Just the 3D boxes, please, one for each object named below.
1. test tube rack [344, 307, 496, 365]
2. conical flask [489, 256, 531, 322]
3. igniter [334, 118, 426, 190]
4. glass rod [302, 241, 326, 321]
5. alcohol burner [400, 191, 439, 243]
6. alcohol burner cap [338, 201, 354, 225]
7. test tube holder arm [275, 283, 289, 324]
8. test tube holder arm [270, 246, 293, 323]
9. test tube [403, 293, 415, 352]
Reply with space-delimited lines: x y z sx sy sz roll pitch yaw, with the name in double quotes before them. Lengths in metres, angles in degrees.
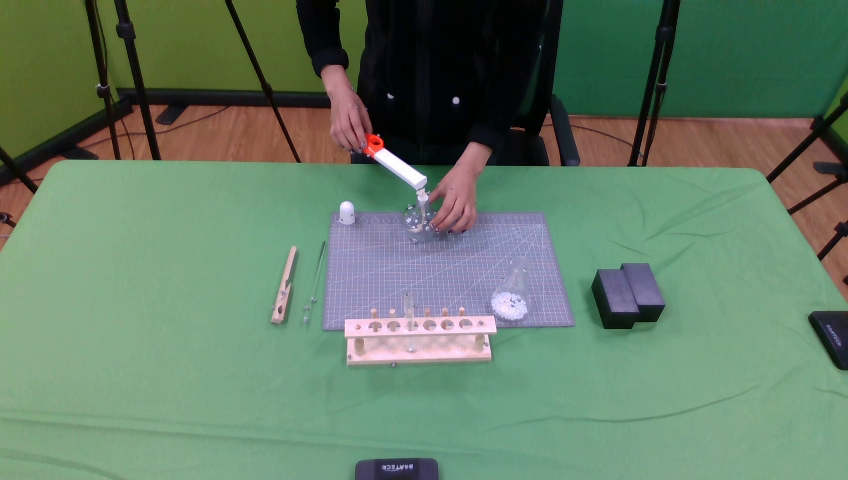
"test tube rack" -0.009 0.154 1.007 0.242 0.085 0.066 -1 46 -5
"conical flask" 0.158 0.081 1.061 0.075 0.122 0.075 2 46 -2
"igniter" -0.097 -0.180 1.226 0.057 0.025 0.275 -34 54 -25
"glass rod" -0.203 0.071 1.124 0.008 0.008 0.198 4 44 1
"alcohol burner" -0.007 -0.052 1.182 0.078 0.119 0.077 3 47 -3
"alcohol burner cap" -0.159 -0.056 1.224 0.034 0.048 0.033 2 46 -2
"test tube holder arm" -0.253 0.111 1.077 0.010 0.015 0.087 28 38 -26
"test tube holder arm" -0.259 0.076 1.106 0.013 0.015 0.177 27 38 -26
"test tube" -0.024 0.133 0.957 0.017 0.151 0.017 0 49 0
